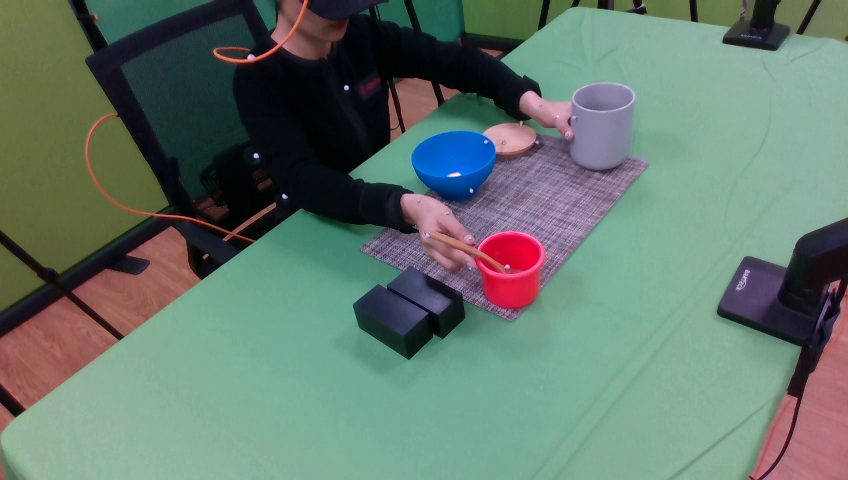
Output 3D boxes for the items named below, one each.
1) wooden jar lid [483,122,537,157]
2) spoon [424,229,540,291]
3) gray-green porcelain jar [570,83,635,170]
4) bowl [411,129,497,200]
[{"bbox_3d":[0.165,-0.195,1.177,0.108,0.021,0.108,-4,40,4],"label":"wooden jar lid"},{"bbox_3d":[0.083,0.025,0.836,0.195,0.021,0.041,29,36,-24],"label":"spoon"},{"bbox_3d":[0.313,-0.197,1.069,0.106,0.127,0.105,-5,40,5],"label":"gray-green porcelain jar"},{"bbox_3d":[0.056,-0.124,1.070,0.151,0.077,0.150,-6,40,5],"label":"bowl"}]
